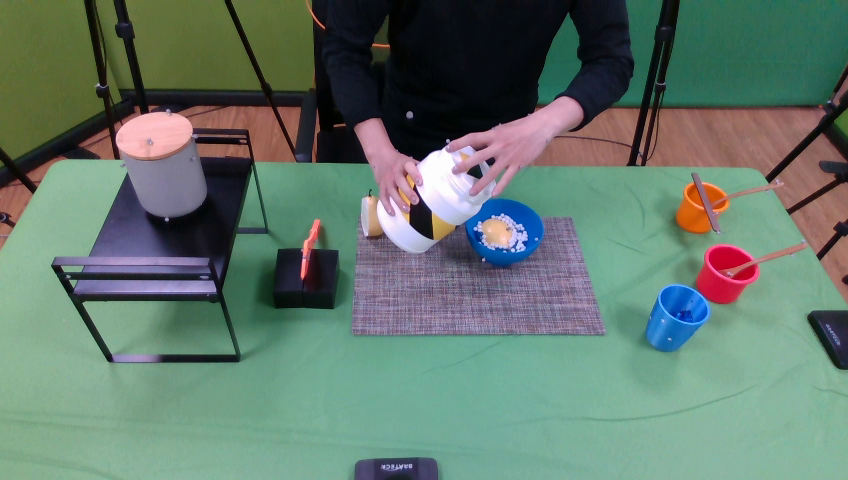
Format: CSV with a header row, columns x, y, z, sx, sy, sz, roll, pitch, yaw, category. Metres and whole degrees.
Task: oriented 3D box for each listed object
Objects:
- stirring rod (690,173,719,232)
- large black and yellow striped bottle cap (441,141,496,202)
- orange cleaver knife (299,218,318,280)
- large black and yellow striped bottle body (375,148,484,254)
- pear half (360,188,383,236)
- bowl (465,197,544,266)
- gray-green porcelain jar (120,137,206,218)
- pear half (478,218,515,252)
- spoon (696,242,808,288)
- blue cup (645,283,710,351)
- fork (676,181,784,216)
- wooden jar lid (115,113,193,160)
x,y,z,sx,sy,sz,roll,pitch,yaw,category
0.566,-0.080,1.225,0.014,0.006,0.175,2,46,2,stirring rod
0.076,-0.116,1.015,0.115,0.019,0.114,33,36,-28,large black and yellow striped bottle cap
-0.214,0.013,1.125,0.012,0.077,0.210,6,17,-5,orange cleaver knife
0.018,-0.073,1.059,0.131,0.184,0.130,33,37,-29,large black and yellow striped bottle body
-0.096,-0.060,1.181,0.056,0.110,0.076,-13,52,-17,pear half
0.149,-0.004,1.167,0.151,0.077,0.150,2,46,-2,bowl
-0.403,-0.106,0.946,0.106,0.127,0.105,3,46,-2,gray-green porcelain jar
0.144,-0.013,1.167,0.070,0.031,0.087,-20,56,-20,pear half
0.601,0.045,1.116,0.194,0.022,0.041,-29,34,30,spoon
0.426,0.139,1.041,0.093,0.101,0.092,3,46,-3,blue cup
0.618,-0.084,1.235,0.207,0.019,0.028,-23,21,38,fork
-0.399,-0.151,0.900,0.108,0.021,0.107,3,46,-3,wooden jar lid
